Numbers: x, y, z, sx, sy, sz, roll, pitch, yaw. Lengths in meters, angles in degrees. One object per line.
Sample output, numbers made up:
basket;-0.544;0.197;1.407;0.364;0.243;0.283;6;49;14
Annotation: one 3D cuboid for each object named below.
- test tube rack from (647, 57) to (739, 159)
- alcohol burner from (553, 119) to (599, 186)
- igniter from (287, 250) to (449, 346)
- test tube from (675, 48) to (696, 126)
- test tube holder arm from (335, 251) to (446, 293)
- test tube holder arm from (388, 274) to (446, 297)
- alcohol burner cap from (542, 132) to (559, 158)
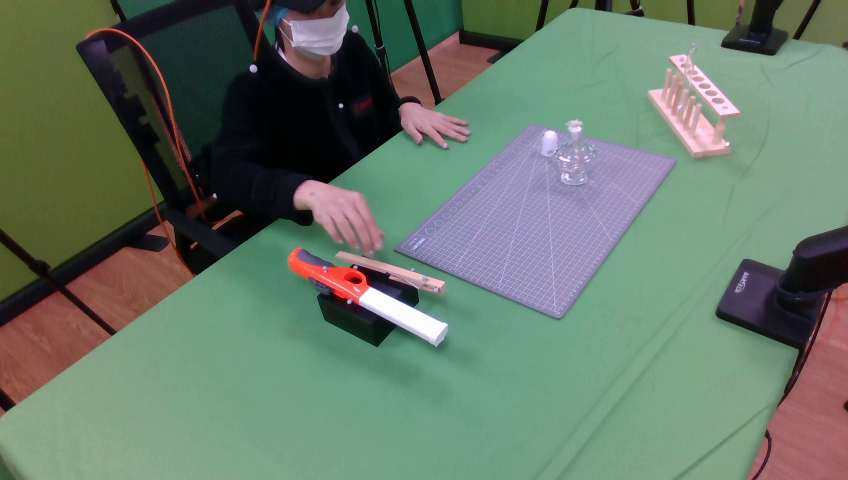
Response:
test tube rack;0.504;-0.257;1.153;0.067;0.085;0.241;-8;40;1
alcohol burner;0.261;-0.153;1.042;0.078;0.119;0.077;-6;40;6
igniter;-0.087;0.073;0.825;0.274;0.025;0.057;23;48;27
test tube;0.481;-0.279;1.112;0.017;0.151;0.017;-5;40;5
test tube holder arm;-0.050;0.043;0.853;0.177;0.013;0.015;17;40;24
test tube holder arm;-0.011;0.060;0.838;0.087;0.010;0.015;18;40;24
alcohol burner cap;0.237;-0.180;1.134;0.034;0.048;0.033;-5;41;5
